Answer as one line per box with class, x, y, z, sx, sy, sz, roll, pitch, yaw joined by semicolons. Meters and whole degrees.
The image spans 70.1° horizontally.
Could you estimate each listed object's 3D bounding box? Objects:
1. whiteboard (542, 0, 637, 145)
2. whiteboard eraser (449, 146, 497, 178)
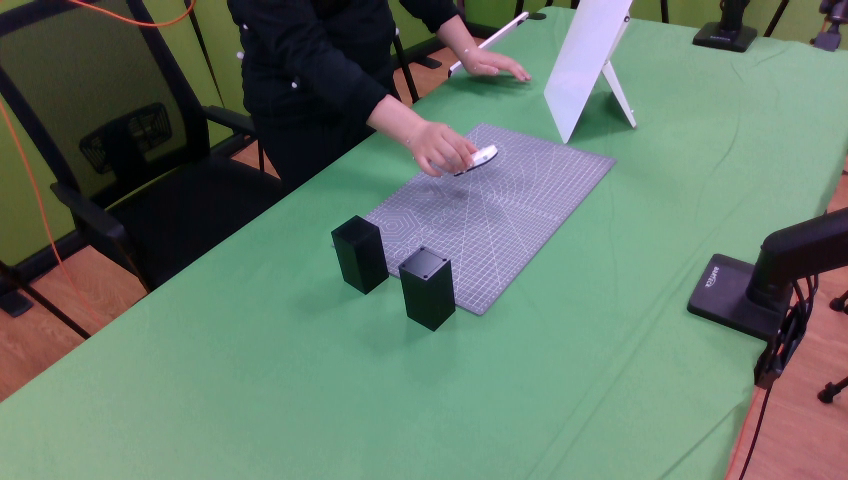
whiteboard;0.365;-0.351;1.160;0.144;0.305;0.216;9;39;-10
whiteboard eraser;0.084;-0.134;1.035;0.100;0.019;0.041;-19;23;46
